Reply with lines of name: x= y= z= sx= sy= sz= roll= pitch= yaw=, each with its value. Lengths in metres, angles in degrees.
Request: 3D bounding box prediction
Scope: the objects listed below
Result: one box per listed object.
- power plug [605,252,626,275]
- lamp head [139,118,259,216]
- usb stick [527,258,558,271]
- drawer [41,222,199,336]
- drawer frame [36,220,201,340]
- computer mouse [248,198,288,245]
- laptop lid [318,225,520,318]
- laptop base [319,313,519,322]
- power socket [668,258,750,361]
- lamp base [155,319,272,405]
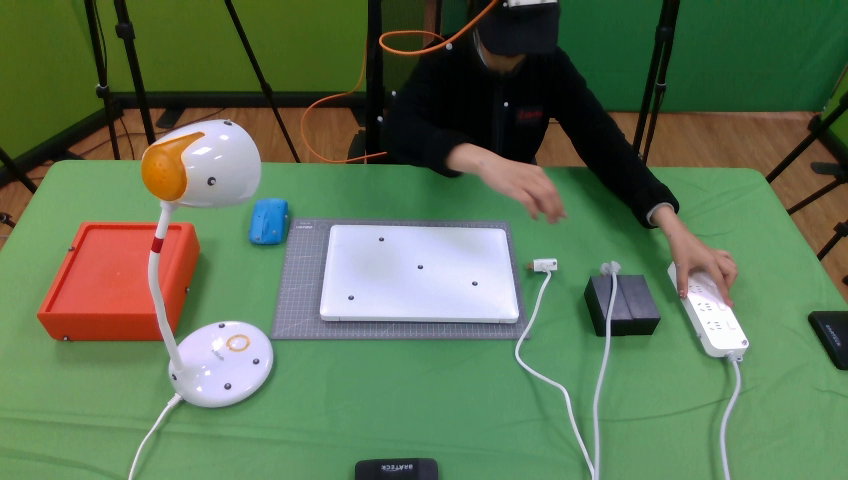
power plug: x=0.367 y=0.040 z=1.128 sx=0.035 sy=0.072 sz=0.052 roll=39 pitch=59 yaw=-10
lamp head: x=-0.281 y=-0.086 z=0.734 sx=0.112 sy=0.113 sz=0.123 roll=21 pitch=25 yaw=16
usb stick: x=0.226 y=0.046 z=1.158 sx=0.059 sy=0.021 sz=0.027 roll=-3 pitch=8 yaw=10
drawer: x=-0.519 y=0.064 z=1.057 sx=0.195 sy=0.073 sz=0.210 roll=1 pitch=46 yaw=-4
drawer frame: x=-0.518 y=0.065 z=1.055 sx=0.202 sy=0.083 sz=0.212 roll=0 pitch=47 yaw=-5
computer mouse: x=-0.309 y=-0.041 z=1.205 sx=0.063 sy=0.041 sz=0.116 roll=3 pitch=50 yaw=-3
laptop lid: x=-0.008 y=0.053 z=1.130 sx=0.357 sy=0.013 sz=0.240 roll=2 pitch=43 yaw=-2
laptop base: x=-0.009 y=0.062 z=1.137 sx=0.354 sy=0.023 sz=0.234 roll=1 pitch=42 yaw=-3
power socket: x=0.517 y=0.118 z=1.110 sx=0.072 sy=0.033 sz=0.225 roll=-2 pitch=46 yaw=-5
lamp base: x=-0.330 y=0.149 z=0.918 sx=0.160 sy=0.181 sz=0.179 roll=26 pitch=52 yaw=20
